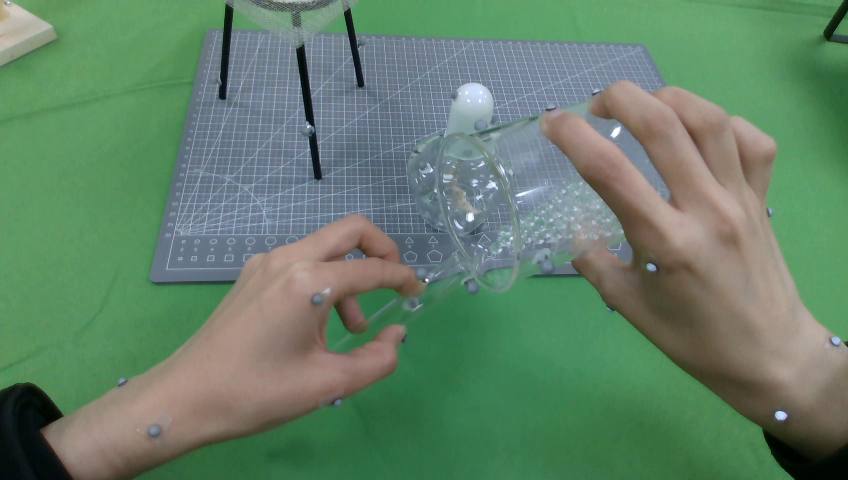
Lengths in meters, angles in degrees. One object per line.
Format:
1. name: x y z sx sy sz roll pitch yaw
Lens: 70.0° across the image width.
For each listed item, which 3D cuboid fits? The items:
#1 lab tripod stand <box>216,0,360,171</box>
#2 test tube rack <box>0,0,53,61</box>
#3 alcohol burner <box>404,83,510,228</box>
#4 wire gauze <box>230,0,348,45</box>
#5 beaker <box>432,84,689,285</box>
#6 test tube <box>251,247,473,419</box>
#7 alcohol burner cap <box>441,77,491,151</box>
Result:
1. lab tripod stand: -0.100 -0.149 0.469 0.148 0.132 0.147 5 52 -6
2. test tube rack: -0.430 -0.156 0.466 0.066 0.086 0.241 31 55 16
3. alcohol burner: 0.026 -0.064 0.432 0.078 0.120 0.077 5 51 -5
4. wire gauze: -0.096 -0.189 0.415 0.124 0.011 0.121 32 56 15
5. beaker: 0.065 -0.028 0.288 0.100 0.084 0.073 -19 59 -18
6. test tube: -0.037 0.052 0.322 0.150 0.017 0.017 -37 56 14
7. alcohol burner cap: 0.029 -0.085 0.403 0.034 0.048 0.033 2 56 -3
